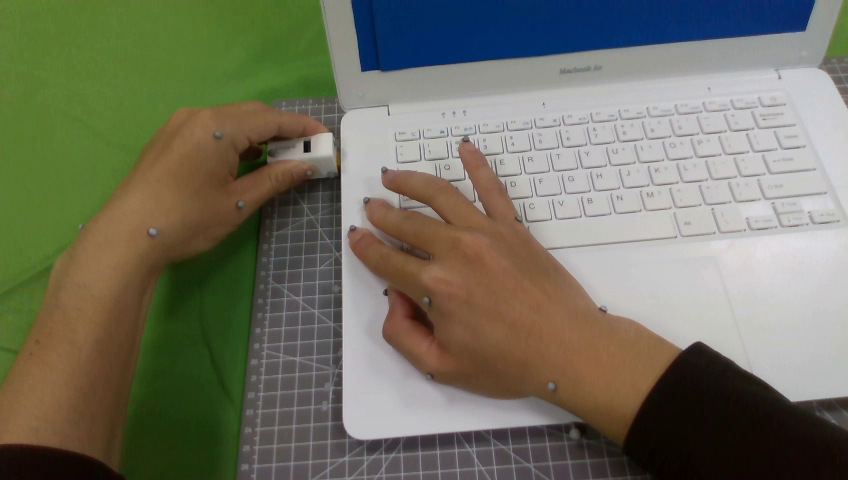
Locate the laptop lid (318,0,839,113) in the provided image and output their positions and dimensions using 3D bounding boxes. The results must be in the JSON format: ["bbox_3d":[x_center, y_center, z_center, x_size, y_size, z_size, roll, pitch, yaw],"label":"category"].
[{"bbox_3d":[0.104,-0.199,0.374,0.357,0.244,0.013,-7,38,1],"label":"laptop lid"}]

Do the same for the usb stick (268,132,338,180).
[{"bbox_3d":[-0.076,-0.058,0.416,0.059,0.027,0.021,-4,60,-7],"label":"usb stick"}]

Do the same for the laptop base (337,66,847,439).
[{"bbox_3d":[0.122,-0.006,0.391,0.354,0.023,0.233,-5,63,0],"label":"laptop base"}]
